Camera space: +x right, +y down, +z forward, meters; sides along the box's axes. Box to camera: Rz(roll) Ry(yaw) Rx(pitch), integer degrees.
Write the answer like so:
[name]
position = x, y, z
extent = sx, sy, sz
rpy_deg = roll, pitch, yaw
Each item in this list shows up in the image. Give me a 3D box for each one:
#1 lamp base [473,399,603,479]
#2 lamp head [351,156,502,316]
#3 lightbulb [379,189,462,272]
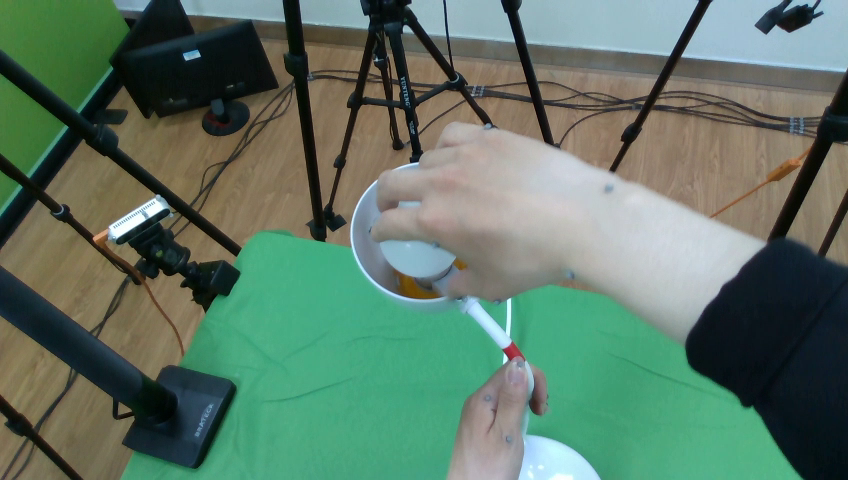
[lamp base]
position = 0.119, 0.253, 0.649
extent = 0.161, 0.182, 0.177
rpy_deg = -24, 55, -8
[lamp head]
position = 0.008, 0.010, 0.488
extent = 0.112, 0.124, 0.111
rpy_deg = -3, 65, 6
[lightbulb]
position = -0.001, 0.000, 0.458
extent = 0.059, 0.108, 0.059
rpy_deg = -1, 74, 4
